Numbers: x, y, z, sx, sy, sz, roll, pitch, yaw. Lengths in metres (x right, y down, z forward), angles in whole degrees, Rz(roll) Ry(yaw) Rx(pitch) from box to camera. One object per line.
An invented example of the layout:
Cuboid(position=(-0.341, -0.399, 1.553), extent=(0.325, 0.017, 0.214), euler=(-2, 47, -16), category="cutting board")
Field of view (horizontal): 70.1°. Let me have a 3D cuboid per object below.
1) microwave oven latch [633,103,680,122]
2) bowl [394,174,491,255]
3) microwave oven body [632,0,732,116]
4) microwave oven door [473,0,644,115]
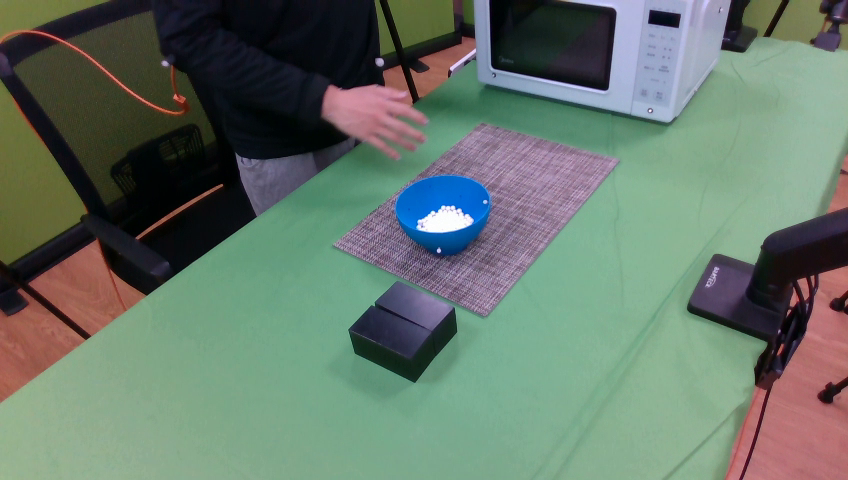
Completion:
Cuboid(position=(0.443, -0.249, 1.157), extent=(0.078, 0.029, 0.030), euler=(20, 48, 29), category="microwave oven latch")
Cuboid(position=(0.032, -0.030, 0.949), extent=(0.151, 0.077, 0.150), euler=(-4, 40, 4), category="bowl")
Cuboid(position=(0.377, -0.462, 1.267), extent=(0.438, 0.261, 0.327), euler=(21, 48, 30), category="microwave oven body")
Cuboid(position=(0.257, -0.396, 1.199), extent=(0.353, 0.245, 0.039), euler=(21, 48, 29), category="microwave oven door")
